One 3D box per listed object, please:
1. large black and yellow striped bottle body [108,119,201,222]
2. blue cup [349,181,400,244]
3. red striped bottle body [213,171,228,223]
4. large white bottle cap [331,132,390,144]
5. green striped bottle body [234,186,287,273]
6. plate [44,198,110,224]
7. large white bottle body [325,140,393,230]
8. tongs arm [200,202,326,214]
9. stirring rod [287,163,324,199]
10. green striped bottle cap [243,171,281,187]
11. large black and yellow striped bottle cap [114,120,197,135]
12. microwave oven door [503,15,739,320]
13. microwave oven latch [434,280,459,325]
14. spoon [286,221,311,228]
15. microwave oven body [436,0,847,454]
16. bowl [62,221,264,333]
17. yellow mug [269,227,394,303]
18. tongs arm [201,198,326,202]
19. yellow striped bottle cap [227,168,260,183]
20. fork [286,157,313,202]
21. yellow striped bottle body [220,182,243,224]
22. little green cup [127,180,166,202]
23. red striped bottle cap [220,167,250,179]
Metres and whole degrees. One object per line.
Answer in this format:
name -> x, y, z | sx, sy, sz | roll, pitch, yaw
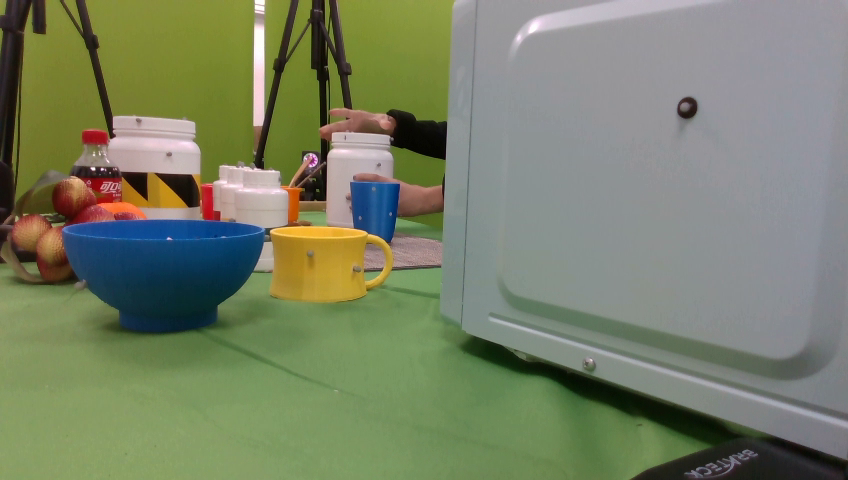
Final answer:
large black and yellow striped bottle body -> -0.412, -0.088, 0.930 | 0.131, 0.184, 0.130 | 3, 7, 0
blue cup -> -0.083, -0.047, 1.012 | 0.093, 0.100, 0.092 | 2, 6, 0
red striped bottle body -> -0.284, -0.048, 0.909 | 0.063, 0.119, 0.063 | 3, 12, 0
large white bottle cap -> -0.123, -0.198, 1.178 | 0.115, 0.018, 0.115 | 3, 8, 0
green striped bottle body -> -0.200, -0.023, 0.743 | 0.063, 0.119, 0.063 | 2, 7, 0
plate -> -0.617, -0.056, 1.179 | 0.209, 0.038, 0.209 | 3, 7, 0
large white bottle body -> -0.127, -0.114, 1.189 | 0.131, 0.184, 0.130 | 2, 8, 0
tongs arm -> -0.378, -0.079, 1.440 | 0.387, 0.026, 0.050 | -4, 8, -44
stirring rod -> -0.278, -0.105, 1.294 | 0.176, 0.006, 0.014 | -47, 25, -18
green striped bottle cap -> -0.198, -0.074, 0.736 | 0.044, 0.020, 0.044 | 1, 7, 0
large black and yellow striped bottle cap -> -0.407, -0.171, 0.920 | 0.115, 0.019, 0.115 | 2, 9, 0
microwave oven door -> 0.218, -0.065, 0.600 | 0.358, 0.243, 0.039 | -4, 10, -41
microwave oven latch -> 0.044, 0.045, 0.470 | 0.079, 0.029, 0.030 | -2, 8, -39
spoon -> -0.232, -0.027, 1.116 | 0.041, 0.021, 0.193 | -22, 6, 4
microwave oven body -> 0.279, -0.040, 0.465 | 0.444, 0.260, 0.324 | -3, 9, -41
bowl -> -0.209, 0.029, 0.496 | 0.151, 0.077, 0.151 | 2, 7, 0
yellow mug -> -0.094, 0.023, 0.629 | 0.131, 0.064, 0.099 | 0, 6, -22
tongs arm -> -0.433, -0.090, 1.508 | 0.390, 0.028, 0.028 | -1, 2, -29
yellow striped bottle cap -> -0.243, -0.087, 0.818 | 0.044, 0.018, 0.044 | 4, 6, 0
fork -> -0.289, -0.116, 1.321 | 0.028, 0.019, 0.207 | 4, 51, 21
yellow striped bottle body -> -0.246, -0.036, 0.825 | 0.063, 0.120, 0.063 | 3, 8, 0
little green cup -> -0.486, -0.086, 1.061 | 0.061, 0.038, 0.061 | 1, 7, 0
red striped bottle cap -> -0.281, -0.099, 0.901 | 0.044, 0.017, 0.044 | -1, 5, 0
